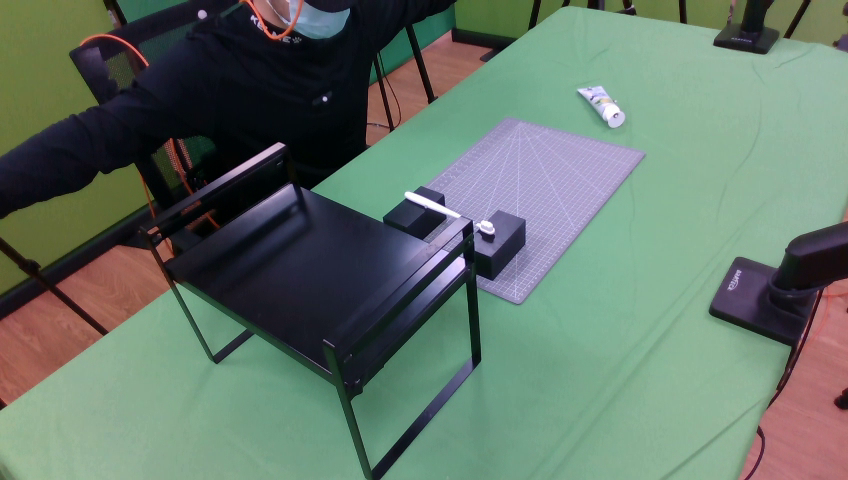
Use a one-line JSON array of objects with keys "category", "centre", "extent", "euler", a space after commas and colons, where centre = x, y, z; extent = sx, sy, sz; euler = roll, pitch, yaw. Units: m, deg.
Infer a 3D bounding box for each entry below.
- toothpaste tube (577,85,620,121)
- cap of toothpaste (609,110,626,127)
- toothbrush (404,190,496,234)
[{"category": "toothpaste tube", "centre": [0.368, -0.285, 1.244], "extent": [0.055, 0.034, 0.164], "euler": [-3, 36, -6]}, {"category": "cap of toothpaste", "centre": [0.376, -0.238, 1.179], "extent": [0.037, 0.037, 0.011], "euler": [-16, 43, -10]}, {"category": "toothbrush", "centre": [0.036, -0.047, 0.942], "extent": [0.180, 0.017, 0.014], "euler": [25, 61, 34]}]
